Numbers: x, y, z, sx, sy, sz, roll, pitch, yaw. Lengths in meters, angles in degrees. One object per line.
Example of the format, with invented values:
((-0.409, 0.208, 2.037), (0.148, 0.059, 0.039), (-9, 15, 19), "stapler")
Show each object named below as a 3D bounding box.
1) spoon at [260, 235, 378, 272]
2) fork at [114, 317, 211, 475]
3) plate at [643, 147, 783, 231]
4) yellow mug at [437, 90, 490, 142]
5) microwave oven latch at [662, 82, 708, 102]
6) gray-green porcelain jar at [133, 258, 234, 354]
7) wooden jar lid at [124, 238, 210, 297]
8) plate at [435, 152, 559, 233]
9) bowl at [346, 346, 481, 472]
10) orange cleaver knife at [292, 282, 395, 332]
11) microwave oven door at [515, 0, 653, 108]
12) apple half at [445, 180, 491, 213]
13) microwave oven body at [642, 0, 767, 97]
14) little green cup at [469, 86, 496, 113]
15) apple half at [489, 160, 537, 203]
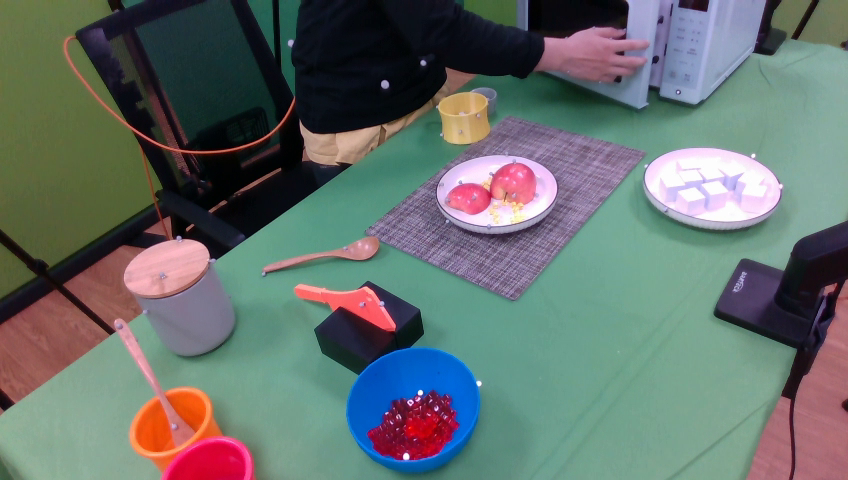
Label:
((-0.168, 0.024, 0.966), (0.194, 0.022, 0.041), (-10, 57, -3), "spoon")
((-0.309, 0.180, 0.708), (0.028, 0.018, 0.207), (-29, 89, -24), "fork")
((0.464, -0.080, 0.986), (0.207, 0.039, 0.206), (-4, 41, 4), "plate")
((0.070, -0.257, 1.224), (0.100, 0.064, 0.129), (-33, 44, -25), "yellow mug")
((0.518, -0.298, 1.202), (0.078, 0.029, 0.030), (28, 53, 35), "microwave oven latch")
((-0.328, 0.087, 0.836), (0.106, 0.127, 0.105), (-4, 41, 4), "gray-green porcelain jar")
((-0.335, 0.039, 0.794), (0.108, 0.021, 0.108), (-2, 40, 2), "wooden jar lid")
((0.124, -0.078, 1.026), (0.209, 0.038, 0.208), (-4, 40, 4), "plate")
((-0.008, 0.205, 0.691), (0.151, 0.077, 0.150), (-4, 40, 4), "bowl")
((-0.116, 0.091, 0.835), (0.209, 0.077, 0.012), (2, 32, 48), "orange cleaver knife")
((0.320, -0.441, 1.241), (0.039, 0.245, 0.352), (-30, 46, -24), "microwave oven door")
((0.076, -0.083, 1.029), (0.081, 0.033, 0.081), (-2, 42, 2), "apple half")
((0.474, -0.516, 1.313), (0.438, 0.261, 0.327), (26, 51, 34), "microwave oven body")
((0.123, -0.297, 1.285), (0.061, 0.039, 0.061), (-3, 39, 3), "little green cup")
((0.154, -0.106, 1.030), (0.080, 0.053, 0.075), (22, 46, 31), "apple half")
